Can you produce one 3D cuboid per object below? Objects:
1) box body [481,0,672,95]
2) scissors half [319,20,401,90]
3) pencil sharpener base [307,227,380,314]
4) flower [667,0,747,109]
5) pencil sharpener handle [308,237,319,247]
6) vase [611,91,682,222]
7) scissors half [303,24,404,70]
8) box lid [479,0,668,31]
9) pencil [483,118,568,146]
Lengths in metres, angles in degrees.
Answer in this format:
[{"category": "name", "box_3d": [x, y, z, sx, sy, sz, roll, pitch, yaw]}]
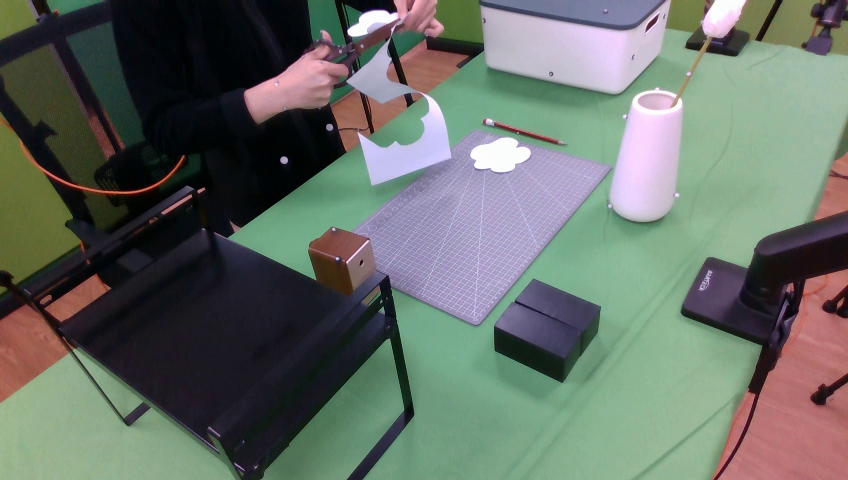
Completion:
[{"category": "box body", "box_3d": [0.341, -0.480, 1.381, 0.361, 0.161, 0.255, 22, 48, 30]}, {"category": "scissors half", "box_3d": [-0.100, -0.289, 0.946, 0.174, 0.040, 0.012, -33, 30, 32]}, {"category": "pencil sharpener base", "box_3d": [-0.116, 0.043, 0.875, 0.076, 0.107, 0.061, 18, 47, 27]}, {"category": "flower", "box_3d": [0.354, -0.187, 0.879, 0.038, 0.362, 0.044, 30, 48, 14]}, {"category": "pencil sharpener handle", "box_3d": [-0.158, 0.017, 0.892, 0.030, 0.068, 0.036, 18, 62, 28]}, {"category": "vase", "box_3d": [0.348, -0.125, 0.935, 0.098, 0.201, 0.097, -3, 40, 3]}, {"category": "scissors half", "box_3d": [-0.111, -0.303, 0.934, 0.174, 0.040, 0.013, -12, 44, 18]}, {"category": "box lid", "box_3d": [0.335, -0.536, 1.331, 0.368, 0.015, 0.264, 23, 49, 30]}, {"category": "pencil", "box_3d": [0.201, -0.217, 1.212, 0.192, 0.012, 0.012, 24, 49, 29]}]
